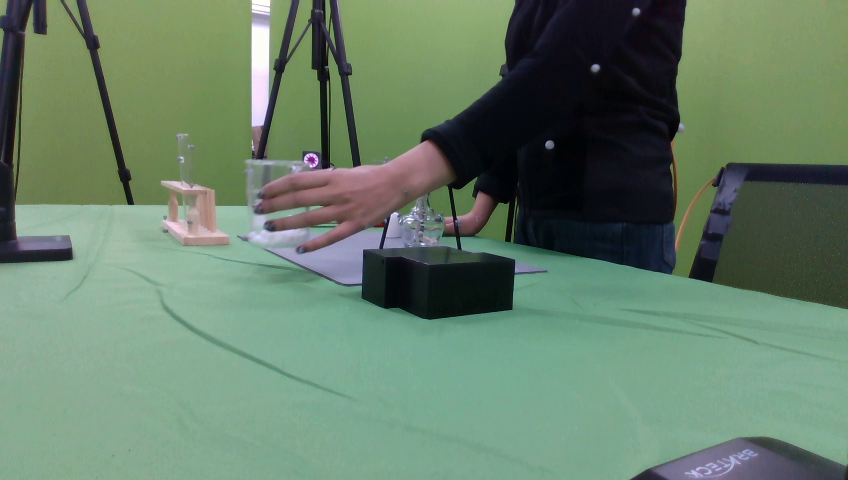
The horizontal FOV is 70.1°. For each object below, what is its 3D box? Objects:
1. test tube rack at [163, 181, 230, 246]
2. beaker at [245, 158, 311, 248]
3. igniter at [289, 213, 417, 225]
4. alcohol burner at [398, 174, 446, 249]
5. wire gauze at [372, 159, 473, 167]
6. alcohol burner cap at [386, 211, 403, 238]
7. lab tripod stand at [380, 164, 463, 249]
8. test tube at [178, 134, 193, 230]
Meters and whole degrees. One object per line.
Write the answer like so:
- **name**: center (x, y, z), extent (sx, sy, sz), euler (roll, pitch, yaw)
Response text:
- **test tube rack**: center (-0.387, -0.050, 1.015), extent (0.067, 0.085, 0.241), euler (-2, 9, -30)
- **beaker**: center (-0.167, -0.044, 0.702), extent (0.074, 0.100, 0.084), euler (4, 7, 19)
- **igniter**: center (-0.144, -0.044, 1.275), extent (0.278, 0.025, 0.057), euler (-1, -2, -27)
- **alcohol burner**: center (-0.003, -0.046, 0.973), extent (0.078, 0.119, 0.078), euler (0, 7, 0)
- **wire gauze**: center (-0.004, -0.122, 0.958), extent (0.122, 0.011, 0.124), euler (-4, 9, -33)
- **alcohol burner cap**: center (-0.053, -0.029, 1.107), extent (0.034, 0.048, 0.034), euler (3, 8, 0)
- **lab tripod stand**: center (-0.004, -0.055, 0.967), extent (0.148, 0.131, 0.148), euler (2, 9, 0)
- **test tube**: center (-0.367, -0.089, 0.938), extent (0.017, 0.150, 0.017), euler (-1, 9, 1)
